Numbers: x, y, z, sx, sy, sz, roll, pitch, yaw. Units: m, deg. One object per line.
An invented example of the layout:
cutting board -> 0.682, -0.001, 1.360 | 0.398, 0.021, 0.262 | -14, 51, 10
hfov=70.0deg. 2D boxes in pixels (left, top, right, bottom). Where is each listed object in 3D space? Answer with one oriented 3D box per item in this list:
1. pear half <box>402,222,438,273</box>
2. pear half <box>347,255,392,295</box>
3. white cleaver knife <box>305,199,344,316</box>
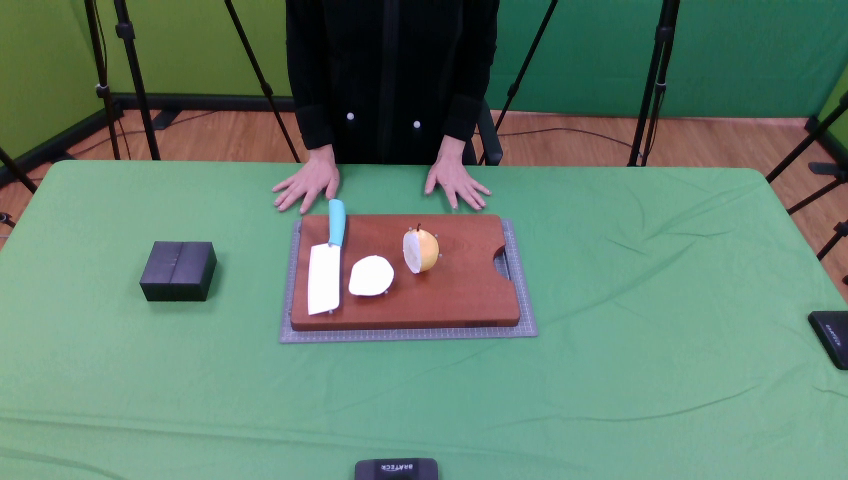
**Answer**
pear half -> -0.003, 0.005, 1.093 | 0.056, 0.110, 0.076 | -24, 56, -25
pear half -> -0.099, 0.069, 1.076 | 0.088, 0.031, 0.070 | -39, 75, -18
white cleaver knife -> -0.185, 0.022, 1.123 | 0.066, 0.021, 0.284 | -7, 45, 3
